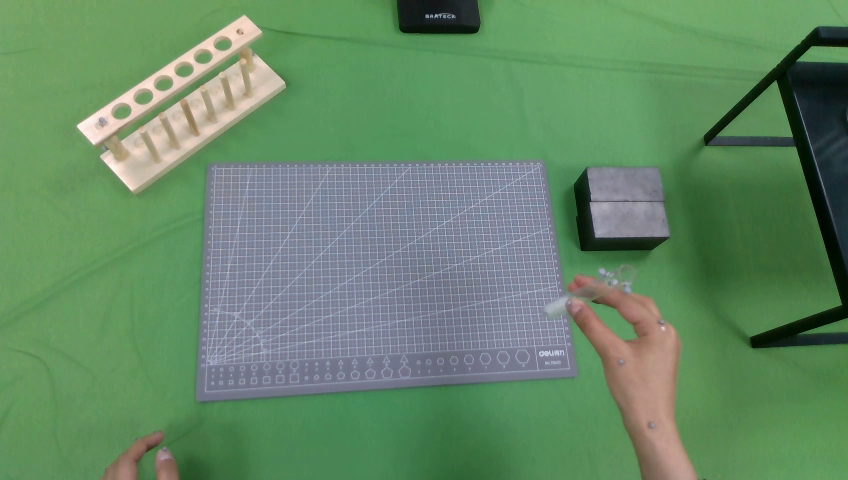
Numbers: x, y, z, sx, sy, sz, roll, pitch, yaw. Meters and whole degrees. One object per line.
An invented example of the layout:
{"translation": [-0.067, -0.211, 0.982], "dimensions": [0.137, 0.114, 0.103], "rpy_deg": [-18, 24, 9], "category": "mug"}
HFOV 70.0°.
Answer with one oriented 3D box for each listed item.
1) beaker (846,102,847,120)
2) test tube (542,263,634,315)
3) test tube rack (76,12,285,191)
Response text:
{"translation": [0.527, -0.159, 0.665], "dimensions": [0.084, 0.101, 0.073], "rpy_deg": [-6, 71, -9], "category": "beaker"}
{"translation": [0.141, 0.046, 0.541], "dimensions": [0.017, 0.150, 0.017], "rpy_deg": [4, 72, -13], "category": "test tube"}
{"translation": [-0.293, -0.174, 0.759], "dimensions": [0.066, 0.085, 0.242], "rpy_deg": [44, 71, 10], "category": "test tube rack"}
